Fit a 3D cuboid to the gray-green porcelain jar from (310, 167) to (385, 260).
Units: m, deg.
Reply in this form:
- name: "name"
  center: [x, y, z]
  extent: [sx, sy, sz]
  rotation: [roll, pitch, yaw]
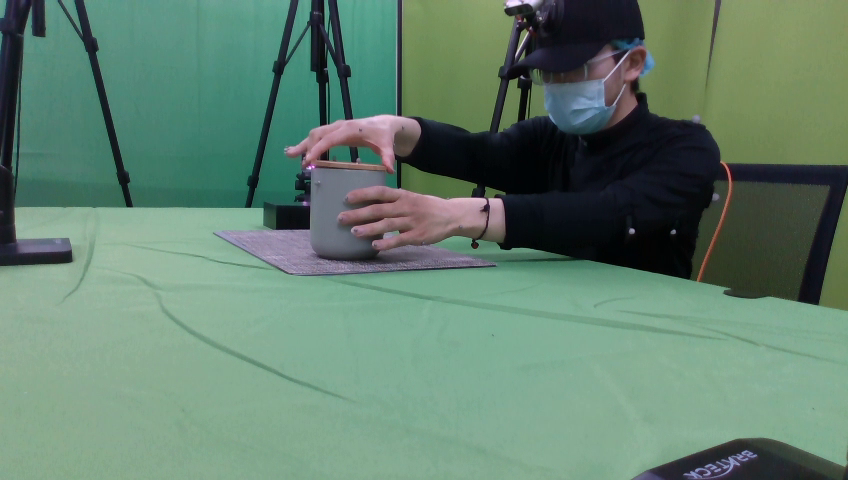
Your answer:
- name: "gray-green porcelain jar"
  center: [-0.109, -0.039, 0.859]
  extent: [0.106, 0.126, 0.106]
  rotation: [2, 7, 0]

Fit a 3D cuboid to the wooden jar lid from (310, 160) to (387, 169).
- name: "wooden jar lid"
  center: [-0.107, -0.101, 0.852]
  extent: [0.108, 0.020, 0.108]
  rotation: [4, 7, 0]
